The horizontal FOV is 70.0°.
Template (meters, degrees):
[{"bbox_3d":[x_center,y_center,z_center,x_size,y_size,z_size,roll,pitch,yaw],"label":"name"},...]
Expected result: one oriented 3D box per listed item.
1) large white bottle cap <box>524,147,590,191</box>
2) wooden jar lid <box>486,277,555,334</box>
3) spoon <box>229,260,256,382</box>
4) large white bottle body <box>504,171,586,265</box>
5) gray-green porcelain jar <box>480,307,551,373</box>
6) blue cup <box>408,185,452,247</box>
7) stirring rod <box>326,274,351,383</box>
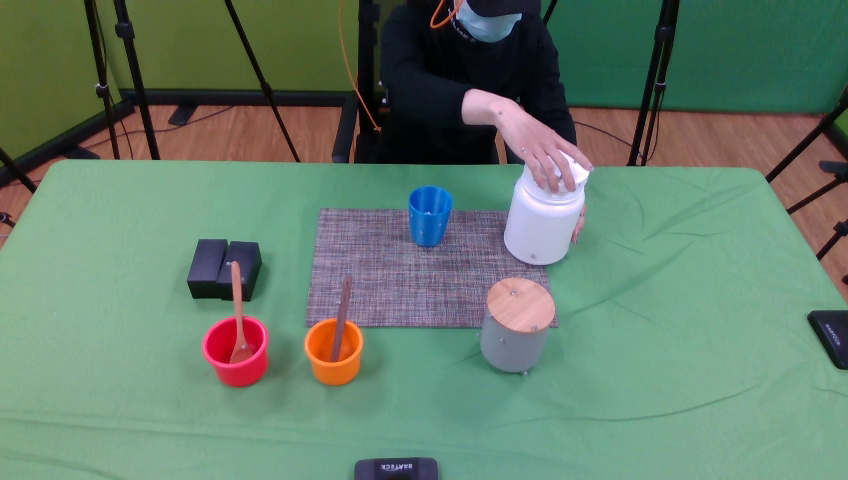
[{"bbox_3d":[0.237,-0.128,1.080,0.115,0.018,0.114,2,42,-2],"label":"large white bottle cap"},{"bbox_3d":[0.150,0.105,0.948,0.108,0.021,0.107,3,47,-3],"label":"wooden jar lid"},{"bbox_3d":[-0.294,0.129,0.966,0.042,0.021,0.193,-4,91,-9],"label":"spoon"},{"bbox_3d":[0.230,-0.057,1.148,0.131,0.185,0.130,3,46,-3],"label":"large white bottle body"},{"bbox_3d":[0.148,0.148,0.992,0.106,0.127,0.105,2,46,-2],"label":"gray-green porcelain jar"},{"bbox_3d":[0.008,-0.042,1.177,0.093,0.101,0.092,3,47,-3],"label":"blue cup"},{"bbox_3d":[-0.137,0.142,0.971,0.014,0.006,0.176,9,89,0],"label":"stirring rod"}]
